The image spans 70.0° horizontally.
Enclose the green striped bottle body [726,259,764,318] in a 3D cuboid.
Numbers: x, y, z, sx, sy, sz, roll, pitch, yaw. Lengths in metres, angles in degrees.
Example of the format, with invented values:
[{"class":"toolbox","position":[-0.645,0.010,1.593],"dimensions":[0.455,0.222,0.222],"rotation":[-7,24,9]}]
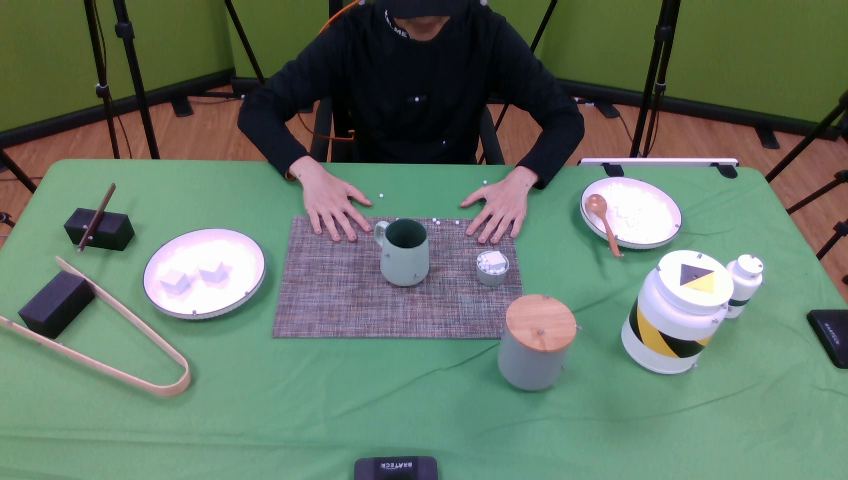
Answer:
[{"class":"green striped bottle body","position":[0.563,0.081,1.089],"dimensions":[0.063,0.120,0.063],"rotation":[2,46,-2]}]

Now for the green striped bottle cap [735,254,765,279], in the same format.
[{"class":"green striped bottle cap","position":[0.566,0.046,1.051],"dimensions":[0.044,0.020,0.044],"rotation":[0,45,0]}]

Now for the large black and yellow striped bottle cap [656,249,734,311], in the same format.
[{"class":"large black and yellow striped bottle cap","position":[0.419,0.061,0.938],"dimensions":[0.115,0.019,0.114],"rotation":[2,47,-2]}]

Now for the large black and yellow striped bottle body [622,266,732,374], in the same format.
[{"class":"large black and yellow striped bottle body","position":[0.415,0.119,0.997],"dimensions":[0.131,0.185,0.130],"rotation":[2,46,-2]}]

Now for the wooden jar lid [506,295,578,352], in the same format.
[{"class":"wooden jar lid","position":[0.179,0.130,0.925],"dimensions":[0.108,0.021,0.107],"rotation":[2,43,-2]}]

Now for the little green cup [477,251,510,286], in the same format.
[{"class":"little green cup","position":[0.128,0.055,1.135],"dimensions":[0.061,0.039,0.061],"rotation":[1,47,-1]}]

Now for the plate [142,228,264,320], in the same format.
[{"class":"plate","position":[-0.394,0.064,1.095],"dimensions":[0.208,0.039,0.206],"rotation":[2,46,-2]}]

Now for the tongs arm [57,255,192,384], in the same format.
[{"class":"tongs arm","position":[-0.517,0.126,1.033],"dimensions":[0.386,0.028,0.028],"rotation":[30,43,23]}]

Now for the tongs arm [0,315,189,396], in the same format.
[{"class":"tongs arm","position":[-0.555,0.170,0.981],"dimensions":[0.384,0.026,0.050],"rotation":[21,43,14]}]

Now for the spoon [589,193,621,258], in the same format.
[{"class":"spoon","position":[0.367,-0.032,1.220],"dimensions":[0.041,0.022,0.192],"rotation":[1,38,0]}]

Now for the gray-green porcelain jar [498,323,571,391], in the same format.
[{"class":"gray-green porcelain jar","position":[0.176,0.172,0.971],"dimensions":[0.106,0.127,0.105],"rotation":[2,46,-2]}]

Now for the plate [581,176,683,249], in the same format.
[{"class":"plate","position":[0.430,-0.054,1.267],"dimensions":[0.209,0.038,0.208],"rotation":[2,46,-2]}]

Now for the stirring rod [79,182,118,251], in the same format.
[{"class":"stirring rod","position":[-0.606,-0.047,1.130],"dimensions":[0.006,0.014,0.175],"rotation":[1,47,0]}]

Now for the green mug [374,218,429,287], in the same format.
[{"class":"green mug","position":[-0.047,0.015,1.116],"dimensions":[0.124,0.105,0.092],"rotation":[36,54,26]}]
